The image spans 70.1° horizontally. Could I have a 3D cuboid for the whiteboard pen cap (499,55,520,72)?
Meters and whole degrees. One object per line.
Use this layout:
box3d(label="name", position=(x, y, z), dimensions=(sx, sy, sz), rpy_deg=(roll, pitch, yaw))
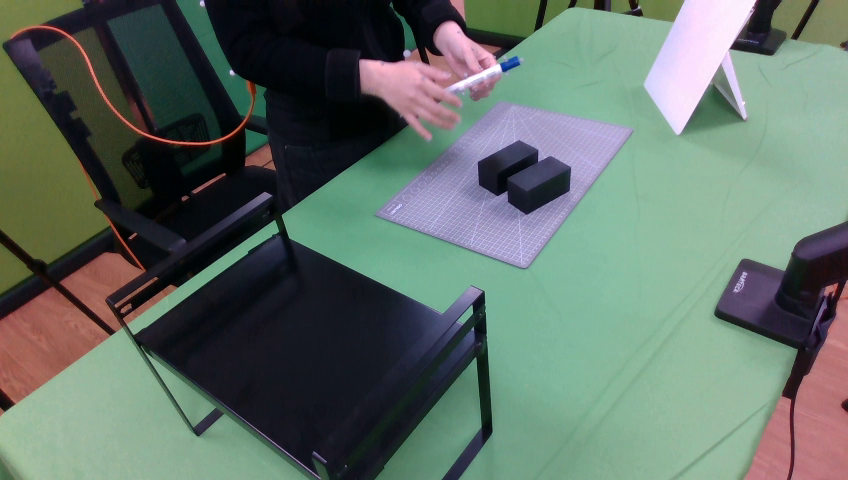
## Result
box3d(label="whiteboard pen cap", position=(0.140, -0.290, 0.994), dimensions=(0.033, 0.018, 0.018), rpy_deg=(-22, 39, 14))

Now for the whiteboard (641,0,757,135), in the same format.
box3d(label="whiteboard", position=(0.576, -0.367, 1.147), dimensions=(0.144, 0.305, 0.216), rpy_deg=(10, 39, -9))

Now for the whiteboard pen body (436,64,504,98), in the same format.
box3d(label="whiteboard pen body", position=(0.086, -0.269, 1.008), dimensions=(0.140, 0.017, 0.017), rpy_deg=(-20, 38, 15))
